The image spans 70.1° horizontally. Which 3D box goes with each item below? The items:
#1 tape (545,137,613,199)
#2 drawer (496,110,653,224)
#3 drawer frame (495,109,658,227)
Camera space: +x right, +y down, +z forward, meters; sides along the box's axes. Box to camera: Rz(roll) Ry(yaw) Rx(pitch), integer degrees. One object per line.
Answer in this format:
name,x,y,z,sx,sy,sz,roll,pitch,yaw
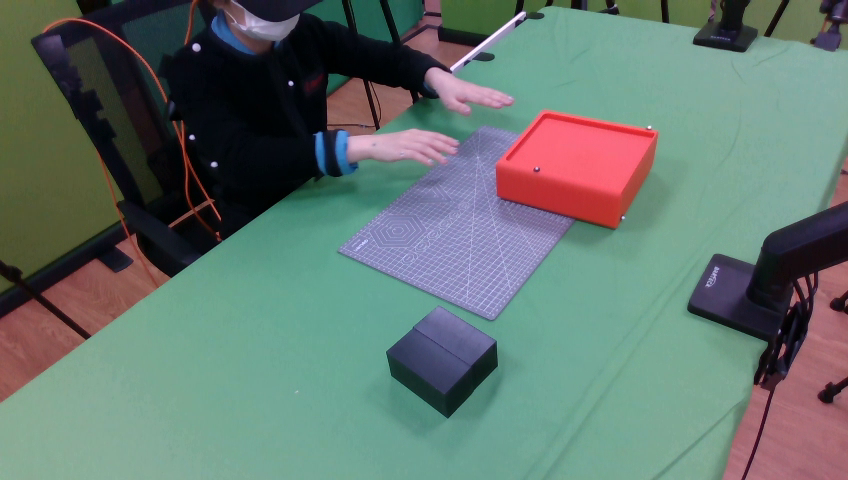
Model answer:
tape,0.263,-0.124,1.034,0.117,0.053,0.116,-5,40,5
drawer,0.257,-0.130,1.032,0.210,0.073,0.195,18,46,26
drawer frame,0.260,-0.130,1.031,0.212,0.083,0.202,18,46,26
